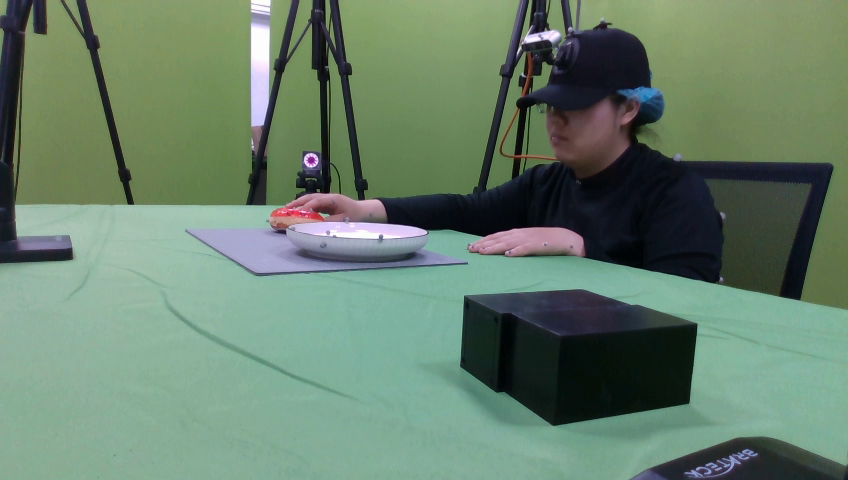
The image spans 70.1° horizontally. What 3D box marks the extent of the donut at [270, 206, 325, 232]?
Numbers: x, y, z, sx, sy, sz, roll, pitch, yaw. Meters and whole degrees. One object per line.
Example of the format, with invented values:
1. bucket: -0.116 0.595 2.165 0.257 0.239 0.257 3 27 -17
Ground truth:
1. donut: -0.229 -0.036 1.099 0.099 0.048 0.099 5 2 0

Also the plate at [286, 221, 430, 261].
1. plate: -0.096 0.001 0.886 0.209 0.038 0.209 2 7 0

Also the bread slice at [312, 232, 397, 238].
1. bread slice: -0.101 0.002 0.885 0.135 0.018 0.106 -3 8 -38
